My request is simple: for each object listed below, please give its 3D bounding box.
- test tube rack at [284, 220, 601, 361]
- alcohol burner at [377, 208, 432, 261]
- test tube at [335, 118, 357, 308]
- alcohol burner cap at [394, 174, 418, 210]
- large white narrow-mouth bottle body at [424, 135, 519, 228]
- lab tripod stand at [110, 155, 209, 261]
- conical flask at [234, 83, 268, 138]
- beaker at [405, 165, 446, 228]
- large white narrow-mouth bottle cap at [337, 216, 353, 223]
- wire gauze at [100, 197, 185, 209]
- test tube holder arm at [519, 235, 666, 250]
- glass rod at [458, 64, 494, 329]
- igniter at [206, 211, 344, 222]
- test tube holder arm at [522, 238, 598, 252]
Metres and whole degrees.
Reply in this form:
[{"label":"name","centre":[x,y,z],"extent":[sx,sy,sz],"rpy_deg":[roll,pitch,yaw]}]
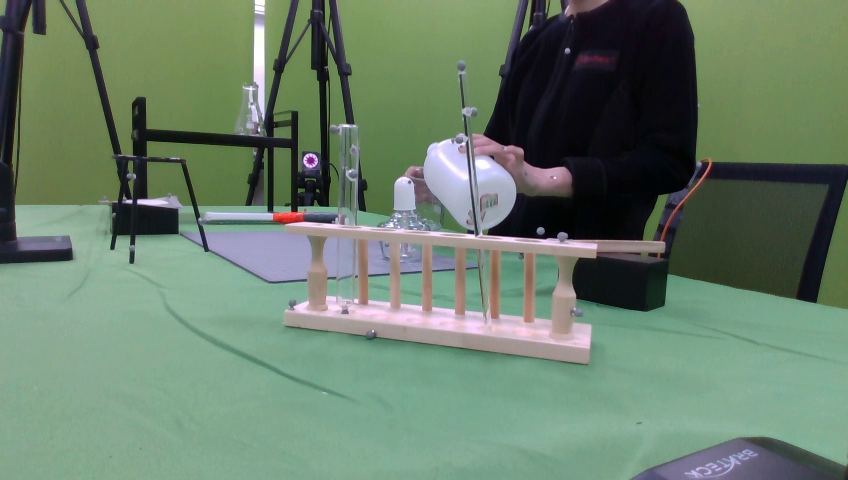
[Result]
[{"label":"test tube rack","centre":[0.013,0.032,0.482],"extent":[0.242,0.085,0.067],"rpy_deg":[4,7,16]},{"label":"alcohol burner","centre":[-0.027,-0.031,0.838],"extent":[0.078,0.119,0.078],"rpy_deg":[0,6,0]},{"label":"test tube","centre":[-0.061,-0.019,0.476],"extent":[0.017,0.150,0.017],"rpy_deg":[2,11,0]},{"label":"alcohol burner cap","centre":[-0.026,-0.067,0.834],"extent":[0.034,0.048,0.034],"rpy_deg":[-1,12,1]},{"label":"large white narrow-mouth bottle body","centre":[0.058,-0.105,0.926],"extent":[0.102,0.101,0.193],"rpy_deg":[-2,33,-27]},{"label":"lab tripod stand","centre":[-0.361,-0.046,0.806],"extent":[0.148,0.131,0.148],"rpy_deg":[2,5,0]},{"label":"conical flask","centre":[-0.400,-0.298,1.396],"extent":[0.075,0.122,0.075],"rpy_deg":[2,8,0]},{"label":"beaker","centre":[0.007,-0.073,1.054],"extent":[0.083,0.100,0.074],"rpy_deg":[16,25,29]},{"label":"large white narrow-mouth bottle cap","centre":[-0.161,-0.036,1.231],"extent":[0.038,0.024,0.037],"rpy_deg":[2,8,0]},{"label":"wire gauze","centre":[-0.469,-0.062,1.008],"extent":[0.126,0.011,0.121],"rpy_deg":[-2,8,-25]},{"label":"test tube holder arm","centre":[0.185,0.003,0.656],"extent":[0.179,0.015,0.013],"rpy_deg":[-1,16,-19]},{"label":"glass rod","centre":[0.040,-0.029,0.449],"extent":[0.008,0.199,0.008],"rpy_deg":[-7,9,1]},{"label":"igniter","centre":[-0.302,-0.048,1.248],"extent":[0.278,0.025,0.057],"rpy_deg":[-2,-2,-27]},{"label":"test tube holder arm","centre":[0.144,0.005,0.636],"extent":[0.088,0.015,0.010],"rpy_deg":[-1,16,-19]}]
